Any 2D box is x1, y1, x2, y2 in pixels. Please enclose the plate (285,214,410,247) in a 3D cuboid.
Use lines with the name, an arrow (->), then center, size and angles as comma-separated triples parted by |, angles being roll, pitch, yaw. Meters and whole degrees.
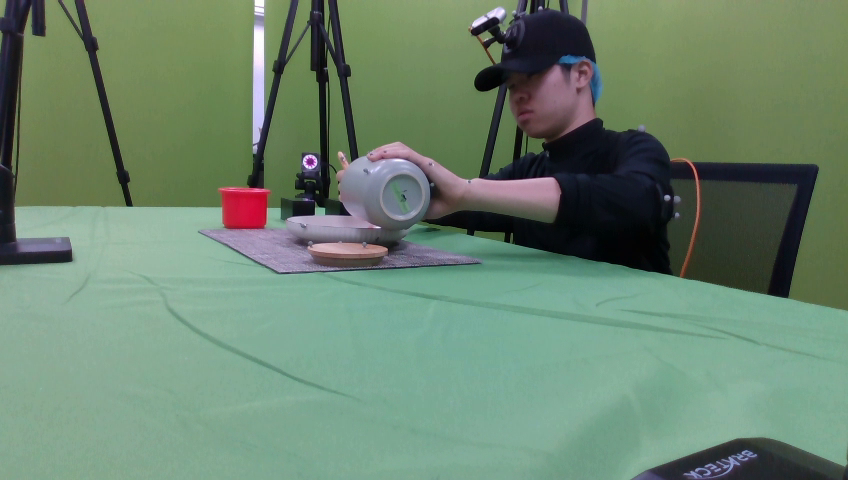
plate -> -0.127, -0.015, 1.012 | 0.208, 0.039, 0.207 | 3, 7, 0

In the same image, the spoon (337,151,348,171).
spoon -> -0.109, -0.092, 0.983 | 0.042, 0.021, 0.193 | 4, 33, -36

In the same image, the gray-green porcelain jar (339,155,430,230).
gray-green porcelain jar -> -0.058, -0.072, 0.903 | 0.106, 0.106, 0.126 | -1, 10, -26

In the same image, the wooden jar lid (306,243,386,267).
wooden jar lid -> -0.105, 0.020, 0.816 | 0.108, 0.020, 0.108 | 1, 7, 0
